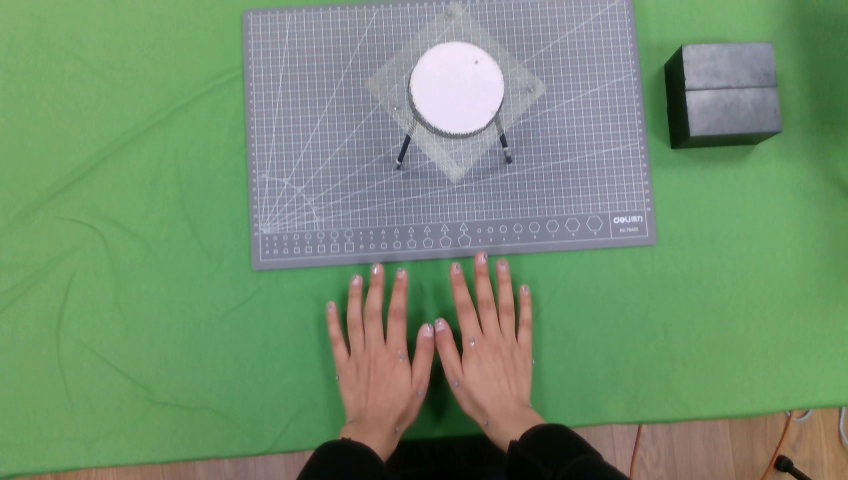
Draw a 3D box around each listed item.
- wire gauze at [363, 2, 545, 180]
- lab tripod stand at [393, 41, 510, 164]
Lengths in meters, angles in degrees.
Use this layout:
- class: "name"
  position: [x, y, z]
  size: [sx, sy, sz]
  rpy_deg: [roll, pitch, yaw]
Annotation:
- class: "wire gauze"
  position: [0.027, -0.139, 0.553]
  size: [0.121, 0.011, 0.125]
  rpy_deg: [-43, 87, -5]
- class: "lab tripod stand"
  position: [0.031, -0.132, 0.620]
  size: [0.148, 0.131, 0.148]
  rpy_deg: [0, 83, -2]
